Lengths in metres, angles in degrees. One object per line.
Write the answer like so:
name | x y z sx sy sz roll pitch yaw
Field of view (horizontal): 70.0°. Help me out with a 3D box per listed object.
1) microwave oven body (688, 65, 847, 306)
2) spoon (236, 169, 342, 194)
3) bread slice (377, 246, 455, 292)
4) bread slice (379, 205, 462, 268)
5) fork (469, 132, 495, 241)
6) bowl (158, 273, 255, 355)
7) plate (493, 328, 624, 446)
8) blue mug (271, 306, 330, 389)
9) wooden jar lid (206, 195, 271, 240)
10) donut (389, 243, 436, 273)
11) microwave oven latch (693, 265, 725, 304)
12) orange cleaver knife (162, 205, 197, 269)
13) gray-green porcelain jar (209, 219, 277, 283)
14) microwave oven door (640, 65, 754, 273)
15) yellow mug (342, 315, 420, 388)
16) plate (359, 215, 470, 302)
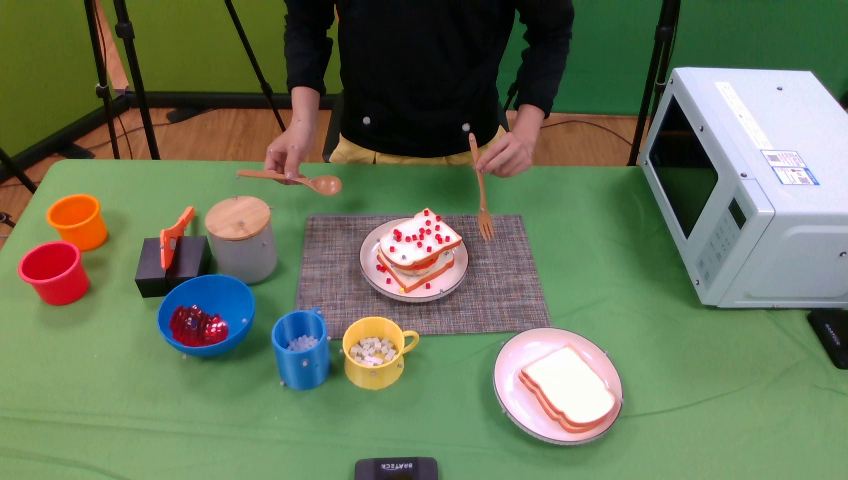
microwave oven body | 0.669 -0.111 1.176 0.326 0.261 0.439 0 46 -3
spoon | -0.252 -0.118 1.142 0.194 0.021 0.041 8 74 -22
bread slice | -0.009 0.033 1.149 0.131 0.019 0.104 -28 56 -25
bread slice | -0.012 -0.001 1.097 0.134 0.018 0.106 -33 51 -23
fork | 0.106 -0.098 1.119 0.028 0.208 0.018 -18 22 -20
bowl | -0.351 0.136 1.001 0.151 0.077 0.150 2 46 -2
plate | 0.213 0.236 0.974 0.208 0.039 0.206 2 46 -2
blue mug | -0.188 0.163 0.969 0.082 0.106 0.116 15 47 10
wooden jar lid | -0.319 -0.036 1.046 0.108 0.021 0.107 1 44 0
donut | -0.023 0.018 1.120 0.099 0.048 0.098 -10 48 11
microwave oven latch | 0.523 0.081 1.115 0.030 0.029 0.078 2 46 -1
orange cleaver knife | -0.454 -0.010 1.129 0.012 0.077 0.210 -1 20 -5
gray-green porcelain jar | -0.323 0.007 1.092 0.106 0.127 0.105 1 46 -1
microwave oven door | 0.523 -0.147 1.193 0.039 0.245 0.353 0 47 -3
yellow mug | -0.068 0.177 0.990 0.131 0.064 0.099 -15 50 -19
plate | -0.019 0.038 1.140 0.209 0.038 0.208 2 46 -2
